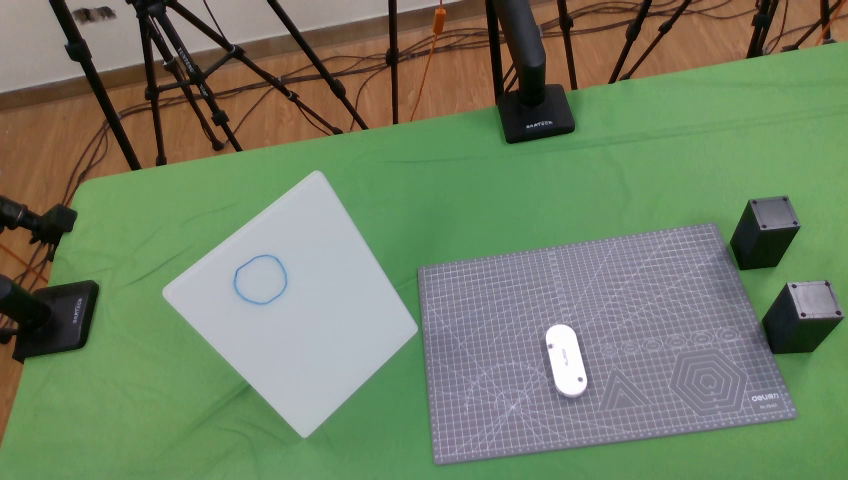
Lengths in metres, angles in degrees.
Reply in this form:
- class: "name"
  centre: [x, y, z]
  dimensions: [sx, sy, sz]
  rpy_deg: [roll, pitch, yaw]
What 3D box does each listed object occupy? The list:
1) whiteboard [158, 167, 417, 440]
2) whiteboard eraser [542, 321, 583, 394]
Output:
- class: "whiteboard"
  centre: [-0.183, 0.070, 0.800]
  dimensions: [0.217, 0.309, 0.142]
  rpy_deg: [-42, 40, -17]
- class: "whiteboard eraser"
  centre: [0.185, 0.155, 0.810]
  dimensions: [0.041, 0.019, 0.100]
  rpy_deg: [-8, 56, 3]
